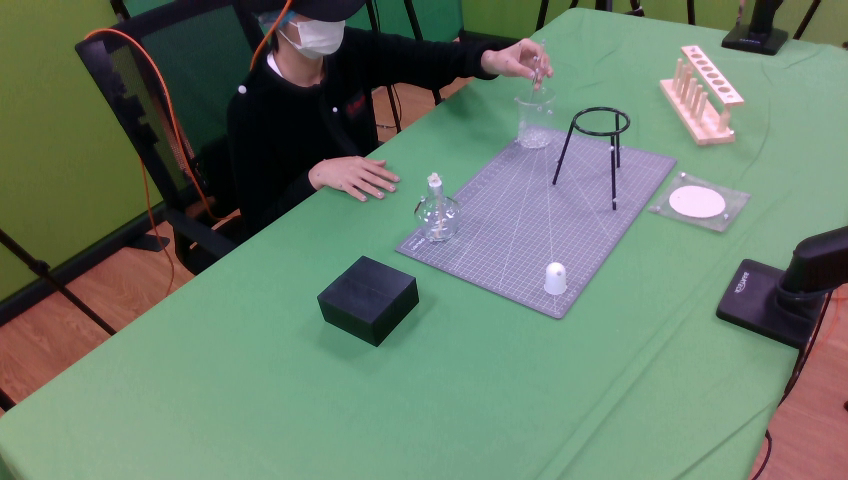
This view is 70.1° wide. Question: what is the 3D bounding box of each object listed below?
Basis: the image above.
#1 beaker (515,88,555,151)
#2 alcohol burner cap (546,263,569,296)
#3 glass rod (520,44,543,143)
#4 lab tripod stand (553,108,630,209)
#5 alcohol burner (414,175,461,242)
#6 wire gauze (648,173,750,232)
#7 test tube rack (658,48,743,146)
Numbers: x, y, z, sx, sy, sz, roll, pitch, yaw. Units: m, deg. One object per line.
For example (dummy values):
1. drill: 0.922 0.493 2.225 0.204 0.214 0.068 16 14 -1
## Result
1. beaker: 0.213 -0.230 1.153 0.073 0.101 0.084 20 47 29
2. alcohol burner cap: 0.191 0.053 0.862 0.034 0.048 0.033 -5 40 4
3. glass rod: 0.196 -0.264 1.114 0.008 0.200 0.008 4 42 -3
4. lab tripod stand: 0.292 -0.144 1.010 0.148 0.132 0.147 -5 38 4
5. alcohol burner: 0.020 -0.055 0.963 0.078 0.119 0.077 -3 41 4
6. wire gauze: 0.451 -0.062 0.990 0.120 0.011 0.125 26 49 32
7. test tube rack: 0.532 -0.284 1.181 0.067 0.085 0.241 -5 40 4
